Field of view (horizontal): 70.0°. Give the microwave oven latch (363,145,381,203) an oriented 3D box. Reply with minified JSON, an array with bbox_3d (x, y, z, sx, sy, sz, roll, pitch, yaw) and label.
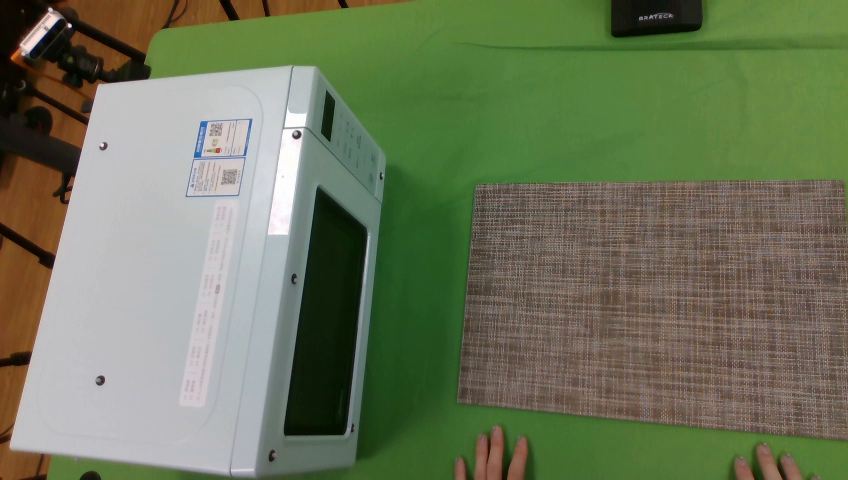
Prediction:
[{"bbox_3d":[-0.080,-0.094,0.864,0.030,0.030,0.079,1,75,16],"label":"microwave oven latch"}]

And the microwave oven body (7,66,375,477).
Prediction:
[{"bbox_3d":[-0.261,0.049,0.768,0.325,0.262,0.439,0,74,16],"label":"microwave oven body"}]

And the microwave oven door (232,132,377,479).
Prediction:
[{"bbox_3d":[-0.125,0.086,0.712,0.039,0.246,0.354,-1,73,16],"label":"microwave oven door"}]
